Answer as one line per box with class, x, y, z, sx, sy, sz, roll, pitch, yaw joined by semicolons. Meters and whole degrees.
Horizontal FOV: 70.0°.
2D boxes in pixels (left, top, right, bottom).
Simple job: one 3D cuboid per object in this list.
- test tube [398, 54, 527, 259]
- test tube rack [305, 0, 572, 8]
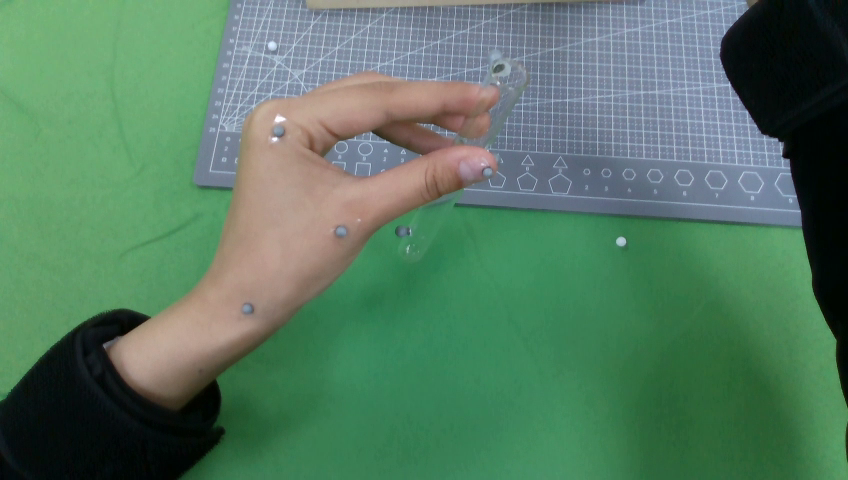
test tube;0.011;-0.028;0.282;0.017;0.151;0.017;8;60;-14
test tube rack;0.036;-0.213;0.402;0.242;0.085;0.066;-2;71;-1
